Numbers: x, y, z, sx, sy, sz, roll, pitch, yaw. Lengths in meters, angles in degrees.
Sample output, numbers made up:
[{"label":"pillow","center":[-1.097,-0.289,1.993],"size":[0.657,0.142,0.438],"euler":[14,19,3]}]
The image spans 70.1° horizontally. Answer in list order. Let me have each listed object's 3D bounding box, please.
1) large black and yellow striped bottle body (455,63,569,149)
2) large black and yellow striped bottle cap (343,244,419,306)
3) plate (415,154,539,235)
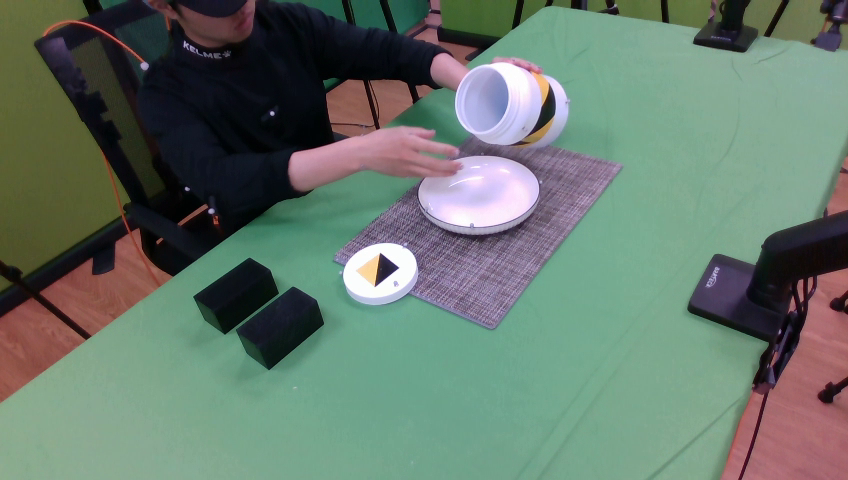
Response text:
[{"label":"large black and yellow striped bottle body","center":[0.149,-0.226,1.027],"size":[0.129,0.131,0.185],"euler":[28,20,34]},{"label":"large black and yellow striped bottle cap","center":[-0.066,0.051,0.918],"size":[0.115,0.019,0.114],"euler":[-6,43,6]},{"label":"plate","center":[0.090,-0.074,1.025],"size":[0.207,0.039,0.206],"euler":[-4,41,4]}]
